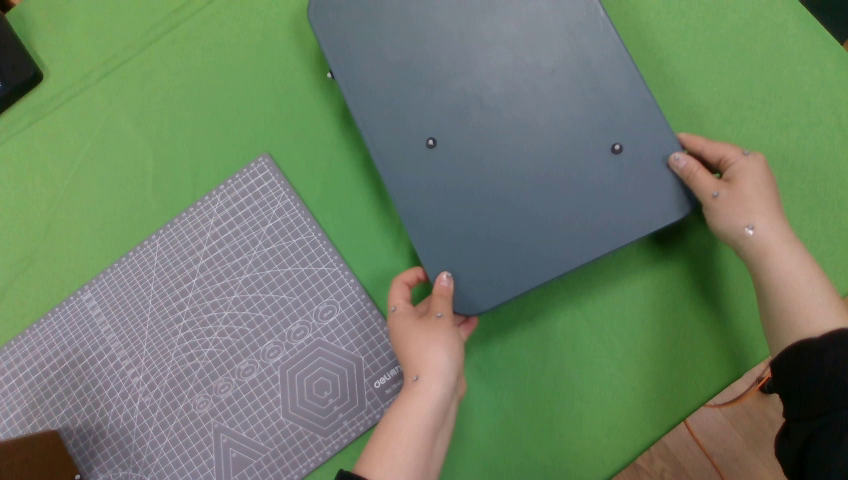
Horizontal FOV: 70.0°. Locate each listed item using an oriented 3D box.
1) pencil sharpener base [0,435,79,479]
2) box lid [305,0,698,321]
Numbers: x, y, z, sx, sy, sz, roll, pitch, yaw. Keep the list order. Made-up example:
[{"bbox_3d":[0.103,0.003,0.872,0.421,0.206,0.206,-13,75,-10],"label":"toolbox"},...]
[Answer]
[{"bbox_3d":[-0.391,0.238,0.572,0.061,0.107,0.076,-36,80,-1],"label":"pencil sharpener base"},{"bbox_3d":[0.064,-0.136,0.583,0.263,0.015,0.370,-26,81,3],"label":"box lid"}]
